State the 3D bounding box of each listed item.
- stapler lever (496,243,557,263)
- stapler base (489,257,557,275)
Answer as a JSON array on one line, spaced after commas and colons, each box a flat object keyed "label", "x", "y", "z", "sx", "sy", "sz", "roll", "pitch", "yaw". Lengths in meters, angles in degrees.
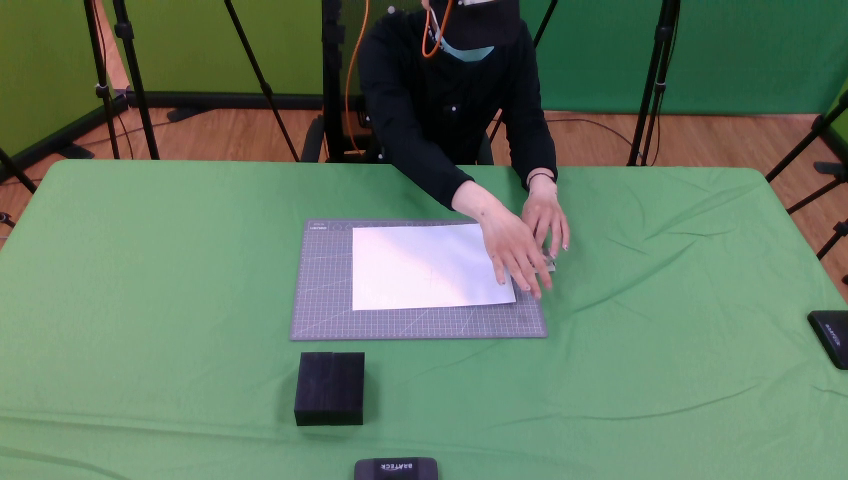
[{"label": "stapler lever", "x": 0.195, "y": 0.023, "z": 1.145, "sx": 0.118, "sy": 0.040, "sz": 0.026, "roll": -4, "pitch": 49, "yaw": -10}, {"label": "stapler base", "x": 0.191, "y": 0.041, "z": 1.163, "sx": 0.131, "sy": 0.024, "sz": 0.041, "roll": -4, "pitch": 49, "yaw": -10}]
